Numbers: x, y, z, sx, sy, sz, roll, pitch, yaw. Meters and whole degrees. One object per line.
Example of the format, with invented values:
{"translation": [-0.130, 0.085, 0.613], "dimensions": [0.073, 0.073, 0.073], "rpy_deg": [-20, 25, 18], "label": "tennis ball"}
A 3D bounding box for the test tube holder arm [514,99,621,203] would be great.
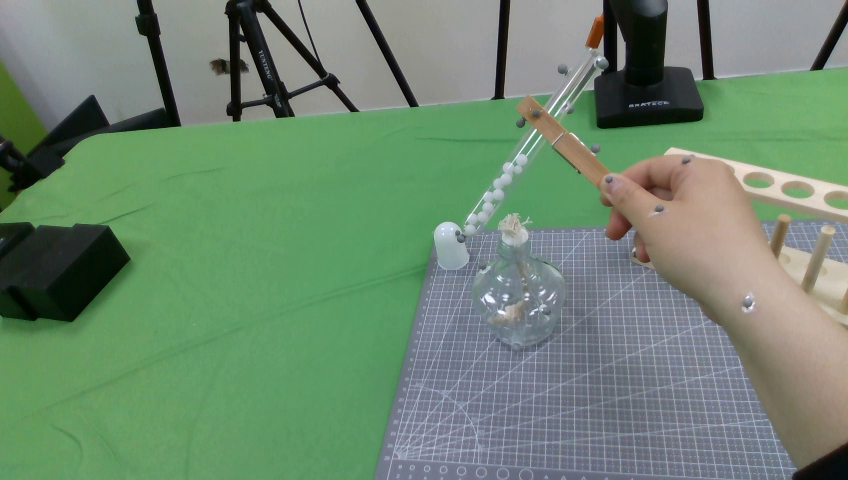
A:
{"translation": [0.095, -0.059, 0.401], "dimensions": [0.087, 0.015, 0.010], "rpy_deg": [46, 20, 8], "label": "test tube holder arm"}

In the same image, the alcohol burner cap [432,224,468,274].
{"translation": [0.024, 0.006, 0.585], "dimensions": [0.034, 0.048, 0.033], "rpy_deg": [-7, 41, 6], "label": "alcohol burner cap"}

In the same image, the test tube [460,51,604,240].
{"translation": [0.071, -0.061, 0.415], "dimensions": [0.150, 0.017, 0.017], "rpy_deg": [-55, 39, 16], "label": "test tube"}

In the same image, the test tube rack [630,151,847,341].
{"translation": [0.290, 0.009, 0.470], "dimensions": [0.240, 0.086, 0.066], "rpy_deg": [23, 52, 36], "label": "test tube rack"}

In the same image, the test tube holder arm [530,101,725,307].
{"translation": [0.126, -0.027, 0.397], "dimensions": [0.177, 0.015, 0.013], "rpy_deg": [49, 21, 15], "label": "test tube holder arm"}

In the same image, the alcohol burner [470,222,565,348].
{"translation": [0.073, 0.031, 0.483], "dimensions": [0.078, 0.120, 0.077], "rpy_deg": [-7, 41, 6], "label": "alcohol burner"}
